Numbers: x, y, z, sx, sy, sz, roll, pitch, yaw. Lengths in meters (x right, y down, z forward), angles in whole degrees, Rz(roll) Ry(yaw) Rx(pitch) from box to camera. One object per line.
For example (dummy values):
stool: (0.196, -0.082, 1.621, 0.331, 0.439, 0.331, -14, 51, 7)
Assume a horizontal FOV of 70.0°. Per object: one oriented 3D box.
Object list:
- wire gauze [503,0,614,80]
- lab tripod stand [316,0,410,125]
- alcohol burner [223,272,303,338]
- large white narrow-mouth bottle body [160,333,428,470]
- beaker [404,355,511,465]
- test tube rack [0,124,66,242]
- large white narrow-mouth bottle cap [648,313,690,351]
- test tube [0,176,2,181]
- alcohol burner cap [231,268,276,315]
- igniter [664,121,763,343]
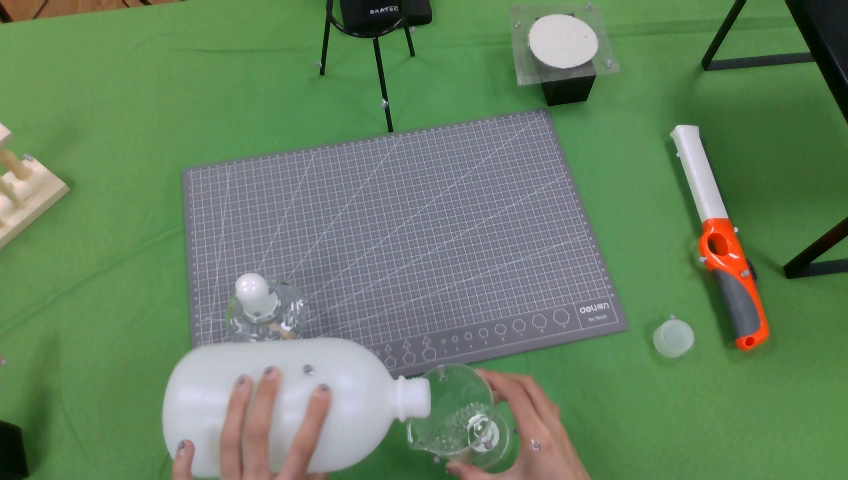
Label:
wire gauze: (0.163, -0.250, 0.746, 0.121, 0.011, 0.124, -4, 65, -3)
lab tripod stand: (-0.065, -0.231, 0.717, 0.148, 0.132, 0.147, 1, 65, -3)
alcohol burner: (-0.158, 0.060, 0.585, 0.078, 0.120, 0.077, 1, 63, -2)
large white narrow-mouth bottle body: (-0.094, 0.124, 0.476, 0.194, 0.102, 0.101, -4, 64, 6)
beaker: (0.031, 0.155, 0.530, 0.084, 0.101, 0.073, -41, 55, -5)
test tube rack: (-0.512, -0.013, 0.630, 0.066, 0.086, 0.242, 35, 69, 14)
large white narrow-mouth bottle cap: (0.255, 0.096, 0.634, 0.038, 0.024, 0.037, 0, 64, -1)
test tube: (-0.484, -0.098, 0.615, 0.017, 0.151, 0.017, -1, 63, 2)
alcohol burner cap: (-0.158, 0.045, 0.552, 0.034, 0.048, 0.033, -1, 60, 2)
igniter: (0.324, -0.018, 0.684, 0.057, 0.025, 0.274, 0, 64, -13)
